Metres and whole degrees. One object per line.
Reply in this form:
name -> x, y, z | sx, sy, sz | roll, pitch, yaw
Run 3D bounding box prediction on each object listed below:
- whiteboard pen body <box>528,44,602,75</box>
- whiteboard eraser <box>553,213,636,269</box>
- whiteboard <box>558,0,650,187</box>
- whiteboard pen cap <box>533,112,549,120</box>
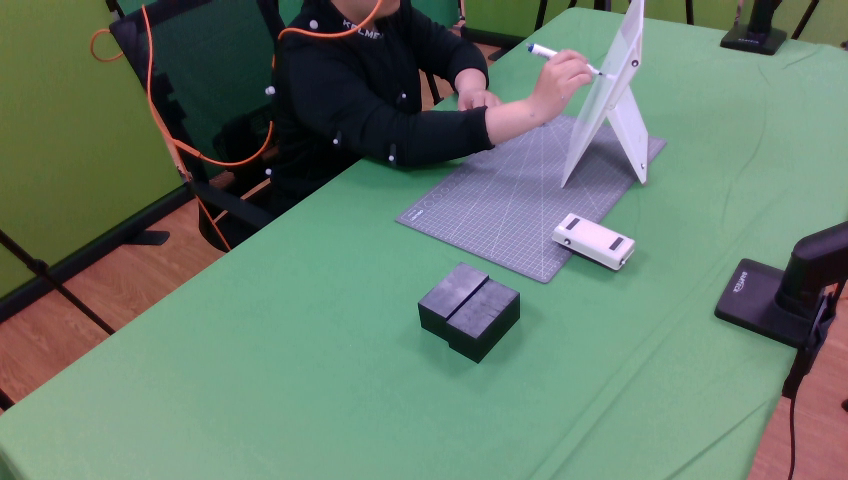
whiteboard pen body -> 0.246, -0.310, 1.049 | 0.141, 0.017, 0.017 | 17, 40, -9
whiteboard eraser -> 0.258, 0.003, 0.918 | 0.112, 0.042, 0.056 | 27, 49, 30
whiteboard -> 0.362, -0.238, 1.026 | 0.144, 0.306, 0.217 | 21, 45, 4
whiteboard pen cap -> 0.239, -0.254, 1.238 | 0.018, 0.018, 0.033 | -28, 27, -23
